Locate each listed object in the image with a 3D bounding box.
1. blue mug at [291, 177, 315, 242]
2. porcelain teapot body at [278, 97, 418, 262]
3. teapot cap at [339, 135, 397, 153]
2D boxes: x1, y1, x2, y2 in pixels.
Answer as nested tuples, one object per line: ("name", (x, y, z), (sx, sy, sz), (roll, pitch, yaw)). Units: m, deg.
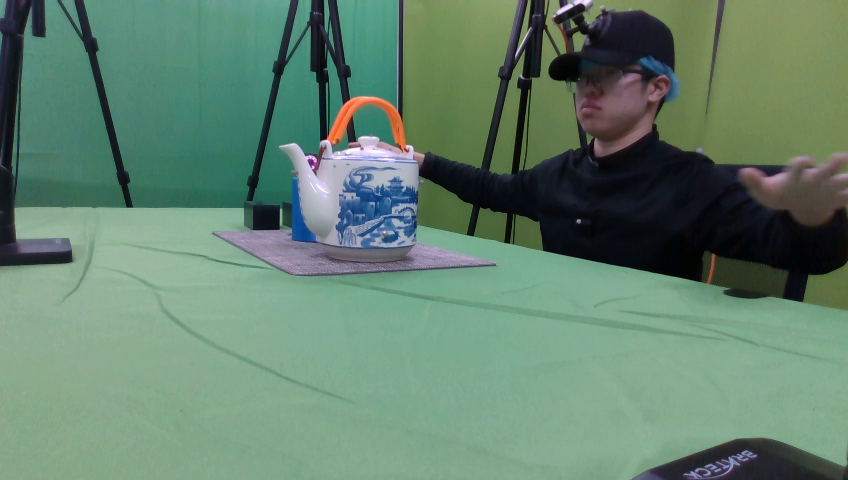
("blue mug", (-0.170, -0.054, 1.037), (0.117, 0.106, 0.082), (-2, 9, -31))
("porcelain teapot body", (-0.104, -0.086, 0.842), (0.206, 0.225, 0.144), (-4, 10, -38))
("teapot cap", (-0.080, -0.126, 0.853), (0.085, 0.044, 0.085), (-1, 5, 0))
